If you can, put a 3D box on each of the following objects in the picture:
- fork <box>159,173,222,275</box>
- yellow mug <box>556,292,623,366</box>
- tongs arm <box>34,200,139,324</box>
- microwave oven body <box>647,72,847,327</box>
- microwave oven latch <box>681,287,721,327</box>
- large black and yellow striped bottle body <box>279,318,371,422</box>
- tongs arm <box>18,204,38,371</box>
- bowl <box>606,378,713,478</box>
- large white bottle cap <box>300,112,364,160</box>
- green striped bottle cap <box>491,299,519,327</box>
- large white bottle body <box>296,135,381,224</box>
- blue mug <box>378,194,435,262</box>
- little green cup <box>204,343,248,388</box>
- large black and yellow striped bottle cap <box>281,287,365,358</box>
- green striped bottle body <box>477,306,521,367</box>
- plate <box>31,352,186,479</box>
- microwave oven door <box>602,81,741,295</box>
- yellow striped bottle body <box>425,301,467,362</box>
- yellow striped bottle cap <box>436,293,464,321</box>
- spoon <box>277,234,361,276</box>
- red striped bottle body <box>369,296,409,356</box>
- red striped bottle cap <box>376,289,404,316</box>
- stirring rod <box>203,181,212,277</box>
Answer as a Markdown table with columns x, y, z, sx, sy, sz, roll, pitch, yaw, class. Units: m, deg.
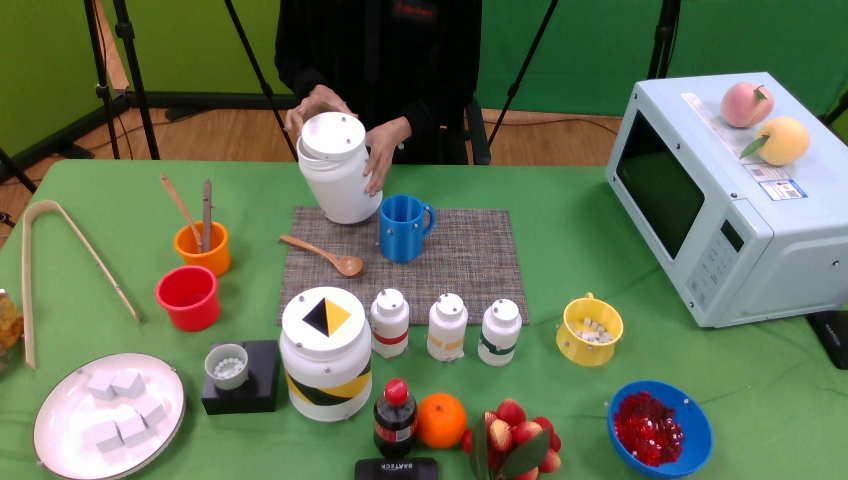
| x | y | z | sx | sy | sz | roll | pitch | yaw | class |
| --- | --- | --- | --- | --- | --- | --- | --- | --- | --- |
| -0.427 | -0.029 | 1.103 | 0.028 | 0.018 | 0.207 | -31 | 99 | -29 | fork |
| 0.285 | 0.145 | 1.051 | 0.100 | 0.064 | 0.130 | 7 | 45 | 3 | yellow mug |
| -0.622 | 0.034 | 1.105 | 0.051 | 0.026 | 0.382 | -32 | 56 | -25 | tongs arm |
| 0.607 | -0.089 | 1.164 | 0.326 | 0.261 | 0.438 | -7 | 46 | -10 | microwave oven body |
| 0.494 | 0.119 | 1.087 | 0.030 | 0.029 | 0.078 | -5 | 46 | -9 | microwave oven latch |
| -0.145 | 0.173 | 0.907 | 0.131 | 0.185 | 0.130 | 2 | 46 | -2 | large black and yellow striped bottle body |
| -0.698 | 0.070 | 1.069 | 0.028 | 0.028 | 0.385 | -21 | 51 | -13 | tongs arm |
| 0.340 | 0.292 | 0.906 | 0.151 | 0.077 | 0.150 | 2 | 46 | -2 | bowl |
| -0.167 | -0.190 | 1.100 | 0.115 | 0.018 | 0.114 | 3 | 51 | -3 | large white bottle cap |
| 0.128 | 0.115 | 0.958 | 0.044 | 0.020 | 0.044 | 1 | 47 | -1 | green striped bottle cap |
| -0.166 | -0.132 | 1.177 | 0.130 | 0.186 | 0.130 | -6 | 54 | 9 | large white bottle body |
| -0.032 | -0.027 | 1.160 | 0.116 | 0.106 | 0.082 | -19 | 51 | -21 | blue mug |
| -0.294 | 0.190 | 0.909 | 0.061 | 0.039 | 0.061 | 1 | 48 | 0 | little green cup |
| -0.141 | 0.112 | 0.847 | 0.115 | 0.019 | 0.114 | 5 | 45 | -4 | large black and yellow striped bottle cap |
| 0.124 | 0.151 | 0.995 | 0.063 | 0.120 | 0.063 | 2 | 46 | -2 | green striped bottle body |
| -0.459 | 0.262 | 0.898 | 0.209 | 0.038 | 0.208 | 2 | 46 | -2 | plate |
| 0.456 | -0.107 | 1.162 | 0.039 | 0.245 | 0.353 | -7 | 47 | -11 | microwave oven door |
| 0.037 | 0.142 | 0.996 | 0.063 | 0.121 | 0.062 | 3 | 46 | -2 | yellow striped bottle body |
| 0.041 | 0.106 | 0.959 | 0.044 | 0.019 | 0.044 | -1 | 50 | 1 | yellow striped bottle cap |
| -0.202 | 0.023 | 1.154 | 0.193 | 0.022 | 0.041 | 23 | 70 | 17 | spoon |
| -0.058 | 0.134 | 0.997 | 0.063 | 0.120 | 0.062 | 4 | 47 | -4 | red striped bottle body |
| -0.055 | 0.098 | 0.958 | 0.044 | 0.018 | 0.044 | 0 | 48 | 1 | red striped bottle cap |
| -0.396 | -0.021 | 1.107 | 0.014 | 0.006 | 0.176 | -1 | 89 | -1 | stirring rod |
